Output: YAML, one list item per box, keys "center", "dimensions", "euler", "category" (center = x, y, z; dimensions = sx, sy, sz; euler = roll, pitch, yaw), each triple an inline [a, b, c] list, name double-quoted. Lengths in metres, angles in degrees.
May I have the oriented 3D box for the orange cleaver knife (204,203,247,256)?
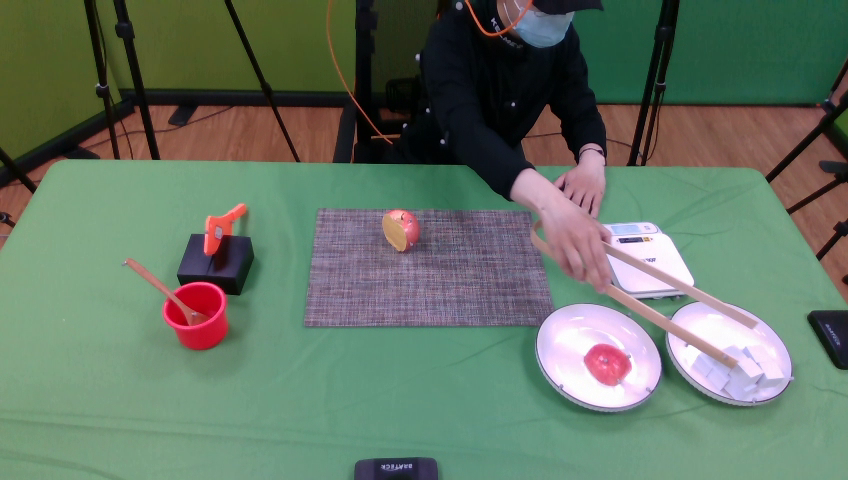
- center: [-0.374, -0.024, 1.146]
  dimensions: [0.012, 0.077, 0.211]
  euler: [4, 14, 1]
  category: "orange cleaver knife"

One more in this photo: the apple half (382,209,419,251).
- center: [-0.039, -0.022, 1.175]
  dimensions: [0.053, 0.075, 0.080]
  euler: [-27, 49, -31]
  category: "apple half"

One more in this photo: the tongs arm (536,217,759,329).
- center: [0.367, 0.050, 1.023]
  dimensions: [0.386, 0.028, 0.028]
  euler: [28, 62, 19]
  category: "tongs arm"

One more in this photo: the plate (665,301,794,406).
- center: [0.513, 0.194, 1.033]
  dimensions: [0.208, 0.039, 0.206]
  euler: [2, 46, -2]
  category: "plate"

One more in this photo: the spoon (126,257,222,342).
- center: [-0.408, 0.096, 0.990]
  dimensions: [0.194, 0.021, 0.041]
  euler: [50, 54, -18]
  category: "spoon"

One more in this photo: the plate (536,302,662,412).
- center: [0.288, 0.197, 1.016]
  dimensions: [0.209, 0.038, 0.208]
  euler: [2, 46, -2]
  category: "plate"

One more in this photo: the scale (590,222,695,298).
- center: [0.424, 0.031, 1.189]
  dimensions: [0.149, 0.032, 0.199]
  euler: [-3, 46, -7]
  category: "scale"

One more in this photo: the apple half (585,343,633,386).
- center: [0.309, 0.198, 1.008]
  dimensions: [0.081, 0.033, 0.081]
  euler: [4, 48, -4]
  category: "apple half"

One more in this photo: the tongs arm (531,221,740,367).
- center: [0.336, 0.081, 0.999]
  dimensions: [0.383, 0.026, 0.050]
  euler: [31, 60, 21]
  category: "tongs arm"
